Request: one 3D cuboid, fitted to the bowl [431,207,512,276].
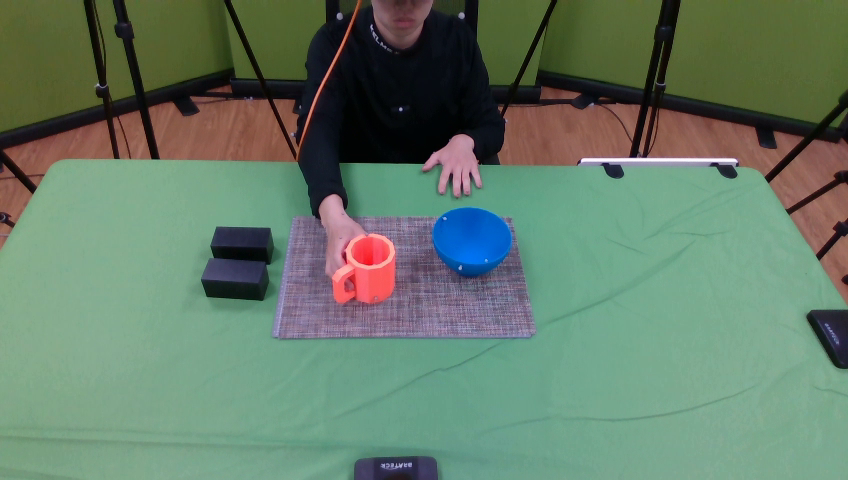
[{"bbox_3d":[0.086,0.016,1.147,0.151,0.077,0.150,2,46,-2],"label":"bowl"}]

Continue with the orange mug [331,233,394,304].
[{"bbox_3d":[-0.110,0.058,1.076,0.126,0.101,0.083,-30,55,-33],"label":"orange mug"}]
